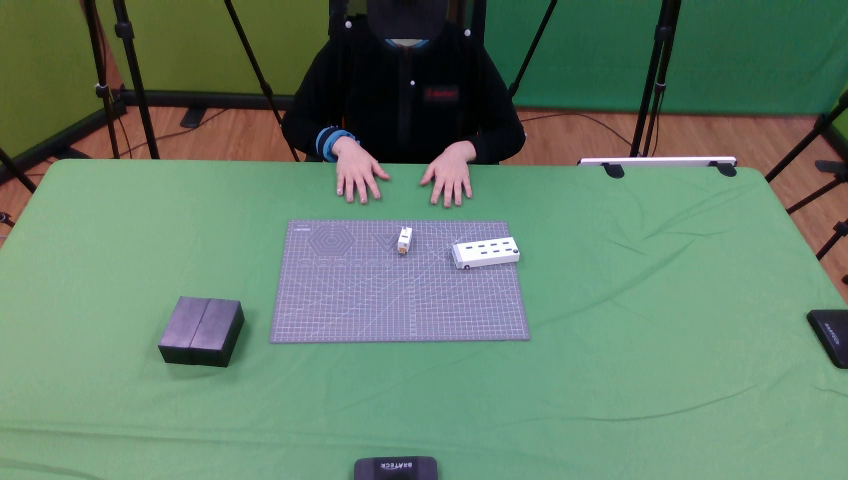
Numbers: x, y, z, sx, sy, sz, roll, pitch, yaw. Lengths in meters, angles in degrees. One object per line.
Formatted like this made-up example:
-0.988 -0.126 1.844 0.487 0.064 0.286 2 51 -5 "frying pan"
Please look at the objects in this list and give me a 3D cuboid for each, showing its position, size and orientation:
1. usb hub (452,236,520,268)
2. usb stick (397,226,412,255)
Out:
0.120 0.024 1.176 0.125 0.025 0.049 -7 48 -10 "usb hub"
-0.038 0.003 1.184 0.021 0.027 0.059 11 49 4 "usb stick"
